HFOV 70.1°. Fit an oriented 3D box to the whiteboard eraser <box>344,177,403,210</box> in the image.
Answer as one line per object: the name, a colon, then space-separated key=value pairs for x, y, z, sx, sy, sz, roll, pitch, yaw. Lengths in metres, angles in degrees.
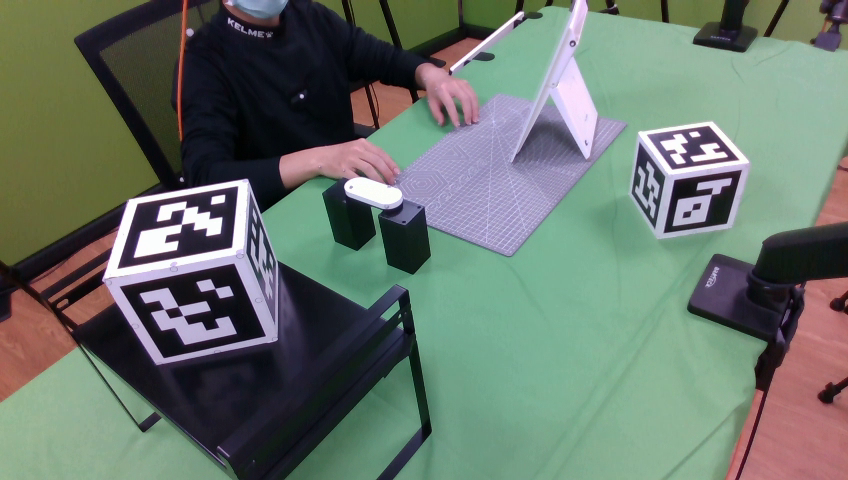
whiteboard eraser: x=-0.077 y=-0.071 z=0.911 sx=0.100 sy=0.019 sz=0.041 roll=20 pitch=50 yaw=29

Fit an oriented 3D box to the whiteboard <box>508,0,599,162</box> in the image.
whiteboard: x=0.285 y=-0.289 z=1.090 sx=0.144 sy=0.305 sz=0.217 roll=22 pitch=45 yaw=3
